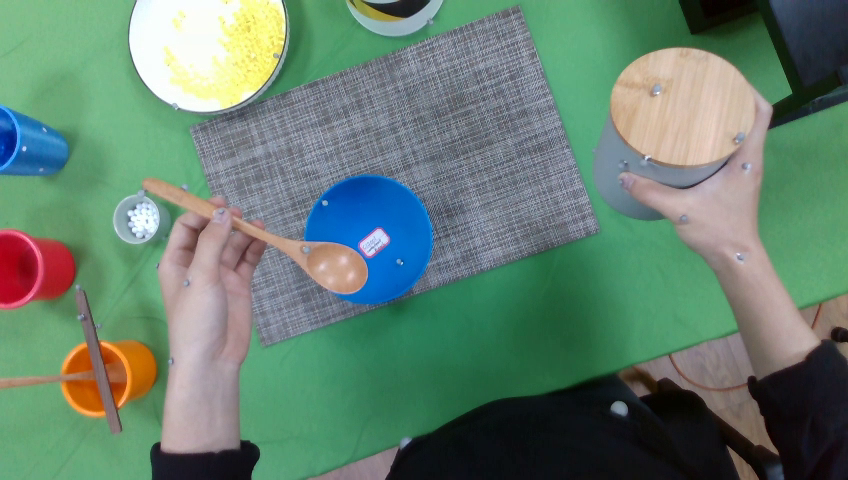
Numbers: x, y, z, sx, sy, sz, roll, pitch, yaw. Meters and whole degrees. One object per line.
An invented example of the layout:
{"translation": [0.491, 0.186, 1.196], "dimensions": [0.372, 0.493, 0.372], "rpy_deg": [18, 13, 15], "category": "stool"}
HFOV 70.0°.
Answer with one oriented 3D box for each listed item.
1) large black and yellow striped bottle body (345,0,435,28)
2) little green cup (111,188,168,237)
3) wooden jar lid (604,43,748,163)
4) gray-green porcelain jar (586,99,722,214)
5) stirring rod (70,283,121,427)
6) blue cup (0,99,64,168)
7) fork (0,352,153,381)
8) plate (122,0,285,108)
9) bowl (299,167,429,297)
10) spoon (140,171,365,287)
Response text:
{"translation": [-0.049, -0.333, 0.679], "dimensions": [0.130, 0.184, 0.130], "rpy_deg": [0, 89, 5], "category": "large black and yellow striped bottle body"}
{"translation": [-0.361, -0.034, 0.773], "dimensions": [0.061, 0.038, 0.061], "rpy_deg": [0, 90, 5], "category": "little green cup"}
{"translation": [0.198, -0.107, 0.483], "dimensions": [0.108, 0.021, 0.107], "rpy_deg": [-2, 71, 5], "category": "wooden jar lid"}
{"translation": [0.204, -0.088, 0.541], "dimensions": [0.106, 0.127, 0.105], "rpy_deg": [-2, 71, 5], "category": "gray-green porcelain jar"}
{"translation": [-0.388, 0.135, 0.715], "dimensions": [0.014, 0.006, 0.176], "rpy_deg": [-17, 88, 3], "category": "stirring rod"}
{"translation": [-0.510, -0.127, 0.754], "dimensions": [0.092, 0.100, 0.092], "rpy_deg": [0, 90, 6], "category": "blue cup"}
{"translation": [-0.436, 0.155, 0.722], "dimensions": [0.209, 0.018, 0.028], "rpy_deg": [1, 91, -39], "category": "fork"}
{"translation": [-0.275, -0.268, 0.770], "dimensions": [0.209, 0.038, 0.209], "rpy_deg": [0, 90, 4], "category": "plate"}
{"translation": [-0.065, -0.008, 0.726], "dimensions": [0.151, 0.077, 0.151], "rpy_deg": [0, 90, 5], "category": "bowl"}
{"translation": [-0.138, -0.012, 0.499], "dimensions": [0.195, 0.021, 0.041], "rpy_deg": [26, 97, -15], "category": "spoon"}
